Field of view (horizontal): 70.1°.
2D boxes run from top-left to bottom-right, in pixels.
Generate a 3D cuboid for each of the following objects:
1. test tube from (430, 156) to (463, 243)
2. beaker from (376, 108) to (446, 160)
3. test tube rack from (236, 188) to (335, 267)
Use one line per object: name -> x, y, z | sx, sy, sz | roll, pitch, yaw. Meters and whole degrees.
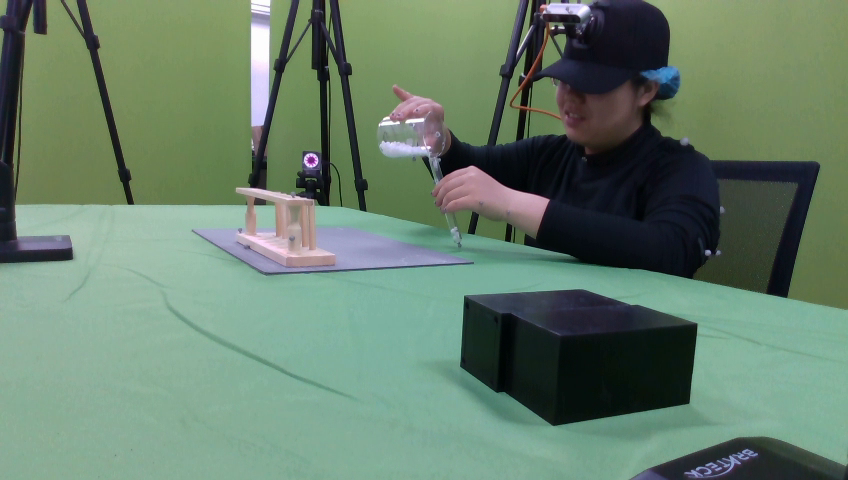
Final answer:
test tube -> 0.037, -0.067, 0.994 | 0.017, 0.150, 0.017 | -16, -5, -1
beaker -> -0.023, -0.176, 1.023 | 0.100, 0.084, 0.074 | 1, 1, 32
test tube rack -> -0.202, -0.024, 0.854 | 0.067, 0.085, 0.241 | -2, 8, -31
